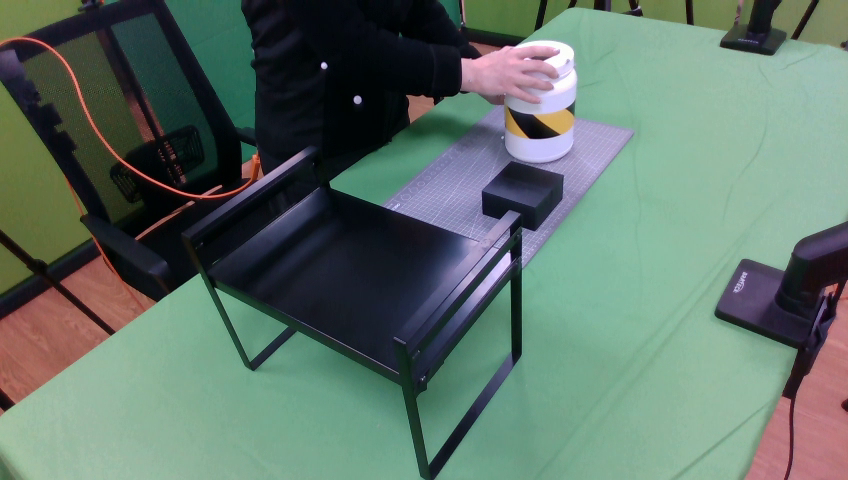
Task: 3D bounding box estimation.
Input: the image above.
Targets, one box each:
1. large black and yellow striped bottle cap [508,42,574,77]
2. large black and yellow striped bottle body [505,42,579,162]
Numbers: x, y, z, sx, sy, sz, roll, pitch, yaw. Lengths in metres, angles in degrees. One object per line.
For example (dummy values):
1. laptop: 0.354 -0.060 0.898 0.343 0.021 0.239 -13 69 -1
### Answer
1. large black and yellow striped bottle cap: 0.203 -0.315 1.053 0.115 0.019 0.114 -3 39 3
2. large black and yellow striped bottle body: 0.214 -0.252 1.108 0.131 0.185 0.130 -5 40 4
